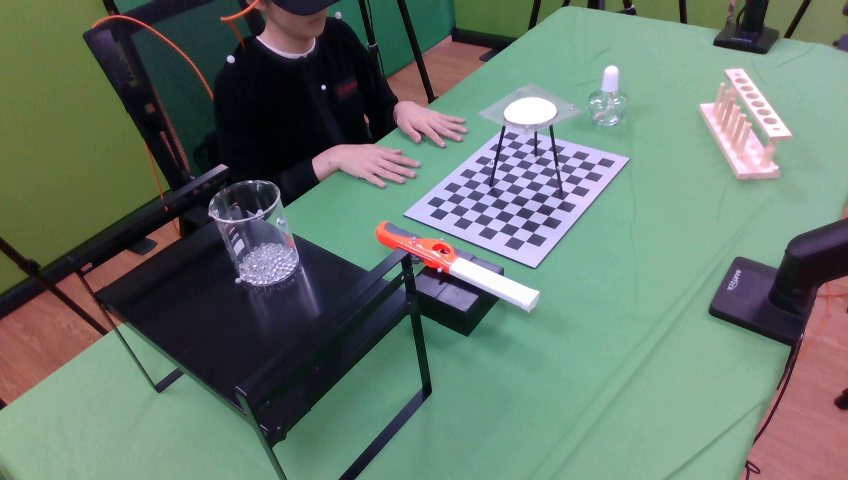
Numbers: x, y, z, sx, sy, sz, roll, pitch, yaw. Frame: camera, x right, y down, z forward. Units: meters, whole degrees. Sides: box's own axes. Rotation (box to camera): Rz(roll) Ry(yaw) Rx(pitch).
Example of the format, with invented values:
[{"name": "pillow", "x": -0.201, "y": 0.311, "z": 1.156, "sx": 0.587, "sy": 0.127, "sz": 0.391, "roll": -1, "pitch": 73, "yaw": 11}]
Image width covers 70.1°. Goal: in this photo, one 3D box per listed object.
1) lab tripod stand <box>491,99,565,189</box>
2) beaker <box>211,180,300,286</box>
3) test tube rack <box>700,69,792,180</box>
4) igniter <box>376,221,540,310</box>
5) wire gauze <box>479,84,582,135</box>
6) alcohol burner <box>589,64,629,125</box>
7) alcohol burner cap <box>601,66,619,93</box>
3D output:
[{"name": "lab tripod stand", "x": 0.184, "y": -0.163, "z": 1.047, "sx": 0.148, "sy": 0.132, "sz": 0.147, "roll": -5, "pitch": 42, "yaw": 5}, {"name": "beaker", "x": -0.183, "y": -0.007, "z": 0.674, "sx": 0.074, "sy": 0.101, "sz": 0.083, "roll": -1, "pitch": 40, "yaw": 7}, {"name": "test tube rack", "x": 0.572, "y": -0.215, "z": 1.090, "sx": 0.066, "sy": 0.085, "sz": 0.241, "roll": -3, "pitch": 41, "yaw": 7}, {"name": "igniter", "x": 0.037, "y": 0.031, "z": 0.858, "sx": 0.274, "sy": 0.025, "sz": 0.057, "roll": 24, "pitch": 46, "yaw": 29}, {"name": "wire gauze", "x": 0.176, "y": -0.216, "z": 1.006, "sx": 0.125, "sy": 0.011, "sz": 0.120, "roll": -29, "pitch": 46, "yaw": -22}, {"name": "alcohol burner", "x": 0.364, "y": -0.287, "z": 1.184, "sx": 0.078, "sy": 0.119, "sz": 0.077, "roll": -4, "pitch": 39, "yaw": 4}, {"name": "alcohol burner cap", "x": 0.361, "y": -0.312, "z": 1.166, "sx": 0.034, "sy": 0.048, "sz": 0.033, "roll": -3, "pitch": 38, "yaw": 3}]
